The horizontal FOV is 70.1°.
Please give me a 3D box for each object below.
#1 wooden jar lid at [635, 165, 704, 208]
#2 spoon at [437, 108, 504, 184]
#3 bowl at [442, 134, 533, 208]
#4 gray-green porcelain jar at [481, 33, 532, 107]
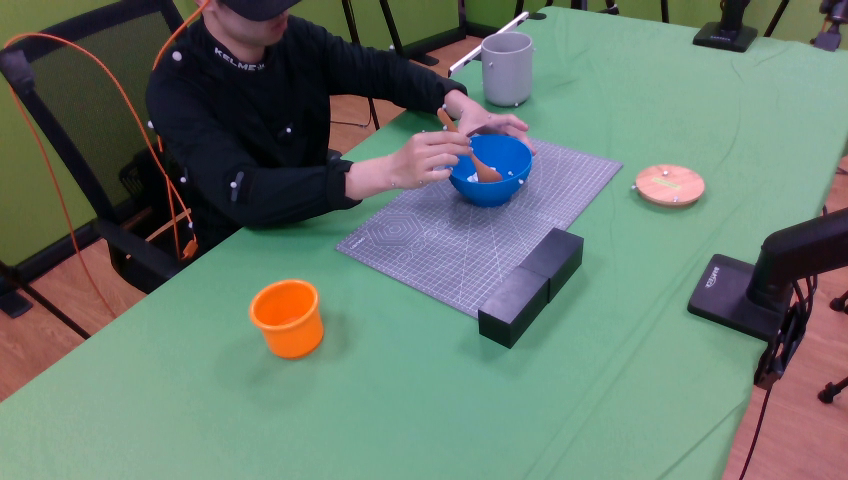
[{"bbox_3d":[0.410,-0.089,1.014,0.108,0.021,0.108,-5,42,5],"label":"wooden jar lid"},{"bbox_3d":[0.072,-0.137,0.951,0.041,0.195,0.021,-35,36,12],"label":"spoon"},{"bbox_3d":[0.111,-0.108,1.032,0.151,0.077,0.150,-5,41,4],"label":"bowl"},{"bbox_3d":[0.175,-0.355,1.278,0.106,0.127,0.105,-4,41,4],"label":"gray-green porcelain jar"}]
